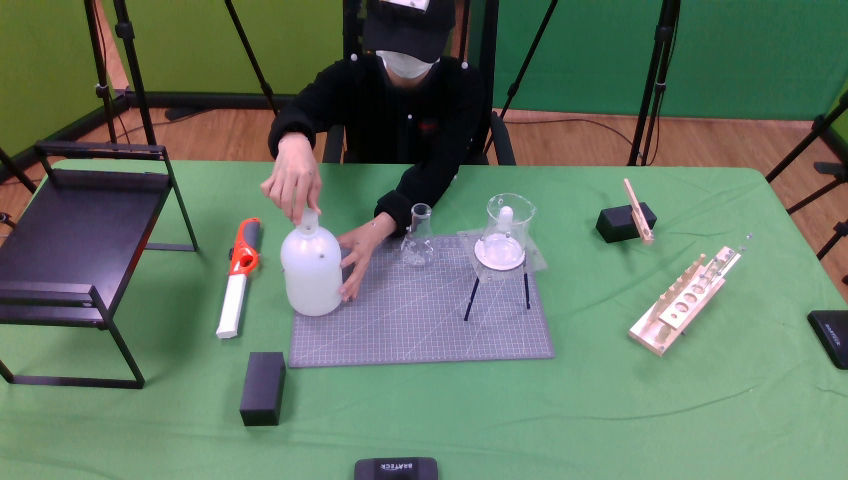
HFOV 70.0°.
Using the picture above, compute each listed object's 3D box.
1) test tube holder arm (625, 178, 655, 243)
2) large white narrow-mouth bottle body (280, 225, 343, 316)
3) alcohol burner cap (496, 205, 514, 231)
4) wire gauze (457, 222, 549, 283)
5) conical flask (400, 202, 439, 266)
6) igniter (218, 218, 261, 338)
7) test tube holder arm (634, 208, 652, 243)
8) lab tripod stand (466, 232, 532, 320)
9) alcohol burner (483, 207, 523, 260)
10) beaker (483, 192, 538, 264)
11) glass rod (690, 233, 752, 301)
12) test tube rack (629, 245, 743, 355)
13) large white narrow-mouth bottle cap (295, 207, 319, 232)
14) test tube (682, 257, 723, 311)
[{"bbox_3d":[0.433,-0.063,1.220,0.013,0.015,0.177,2,47,-3],"label":"test tube holder arm"},{"bbox_3d":[-0.190,0.035,1.025,0.102,0.195,0.101,2,46,-2],"label":"large white narrow-mouth bottle body"},{"bbox_3d":[0.153,-0.044,1.131,0.034,0.048,0.033,2,40,-1],"label":"alcohol burner cap"},{"bbox_3d":[0.131,0.016,1.017,0.121,0.011,0.124,-10,44,-15],"label":"wire gauze"},{"bbox_3d":[-0.007,-0.014,1.135,0.075,0.122,0.075,2,46,-2],"label":"conical flask"},{"bbox_3d":[-0.336,0.060,1.111,0.057,0.025,0.274,-8,46,4],"label":"igniter"},{"bbox_3d":[0.428,-0.030,1.189,0.010,0.015,0.087,2,47,-3],"label":"test tube holder arm"},{"bbox_3d":[0.125,0.059,1.065,0.148,0.132,0.147,1,45,0],"label":"lab tripod stand"},{"bbox_3d":[0.152,-0.018,1.156,0.078,0.120,0.077,0,47,0],"label":"alcohol burner"},{"bbox_3d":[0.136,-0.017,0.980,0.084,0.101,0.073,-6,45,-9],"label":"beaker"},{"bbox_3d":[0.507,0.053,1.041,0.008,0.200,0.008,5,50,-6],"label":"glass rod"},{"bbox_3d":[0.474,0.095,1.091,0.242,0.085,0.066,-34,56,-31],"label":"test tube rack"},{"bbox_3d":[-0.184,-0.032,0.953,0.038,0.024,0.037,2,46,-2],"label":"large white narrow-mouth bottle cap"},{"bbox_3d":[0.475,0.080,1.037,0.017,0.151,0.017,1,50,-1],"label":"test tube"}]
